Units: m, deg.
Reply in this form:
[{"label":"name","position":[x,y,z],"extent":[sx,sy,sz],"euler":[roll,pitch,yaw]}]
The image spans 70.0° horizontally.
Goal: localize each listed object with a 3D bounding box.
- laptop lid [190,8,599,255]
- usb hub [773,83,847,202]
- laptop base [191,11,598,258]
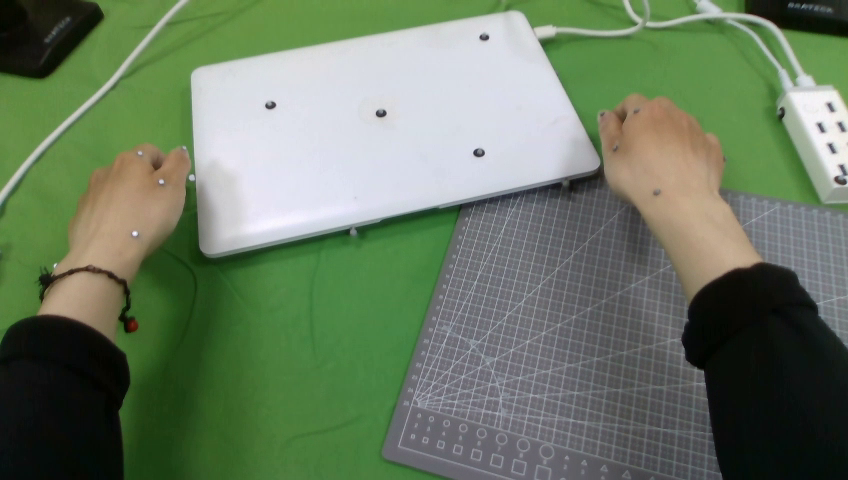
[{"label":"laptop lid","position":[-0.041,-0.118,0.571],"extent":[0.357,0.013,0.239],"euler":[-11,58,-5]},{"label":"usb hub","position":[0.361,-0.090,0.545],"extent":[0.049,0.025,0.124],"euler":[-2,56,2]},{"label":"laptop base","position":[-0.041,-0.113,0.583],"extent":[0.355,0.023,0.233],"euler":[-13,59,-6]}]
